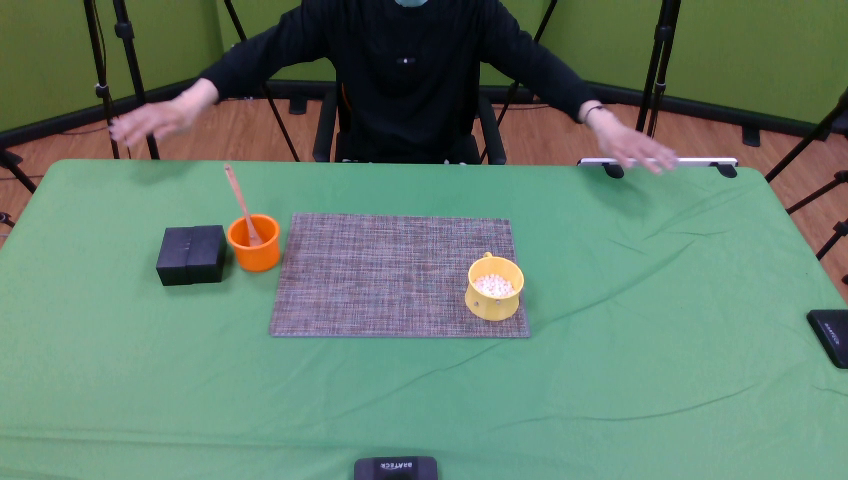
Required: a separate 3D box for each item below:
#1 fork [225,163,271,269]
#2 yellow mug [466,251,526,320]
[{"bbox_3d":[-0.331,-0.045,1.128,0.028,0.018,0.207,-21,94,-23],"label":"fork"},{"bbox_3d":[0.125,0.074,1.096,0.100,0.064,0.130,-4,45,-7],"label":"yellow mug"}]
